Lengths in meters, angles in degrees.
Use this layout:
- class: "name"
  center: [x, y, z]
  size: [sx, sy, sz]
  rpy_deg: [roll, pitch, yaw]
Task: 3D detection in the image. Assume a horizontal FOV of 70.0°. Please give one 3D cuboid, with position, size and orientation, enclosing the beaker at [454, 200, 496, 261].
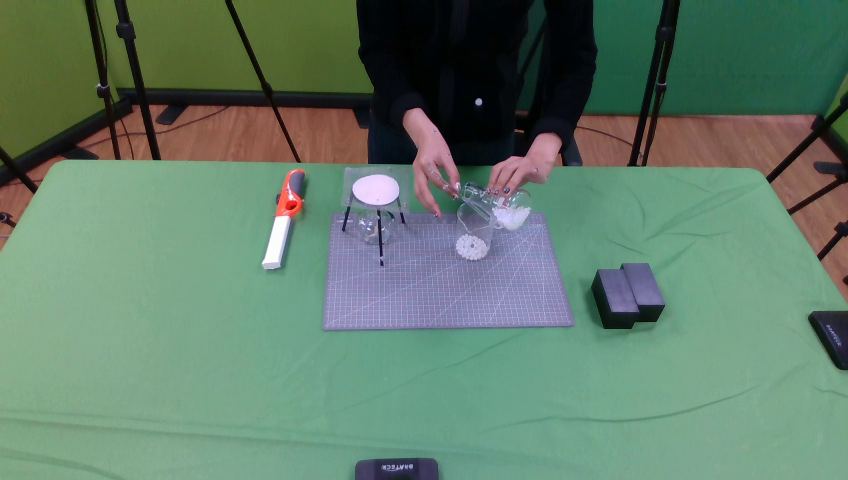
- class: "beaker"
  center: [0.094, -0.013, 1.162]
  size: [0.074, 0.101, 0.083]
  rpy_deg: [17, 48, 12]

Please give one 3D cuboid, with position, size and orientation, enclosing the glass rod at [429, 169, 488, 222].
- class: "glass rod"
  center: [0.066, -0.077, 1.089]
  size: [0.008, 0.201, 0.008]
  rpy_deg: [-18, 56, 29]

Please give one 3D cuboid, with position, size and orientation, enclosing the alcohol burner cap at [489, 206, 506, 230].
- class: "alcohol burner cap"
  center: [0.152, -0.047, 1.241]
  size: [0.034, 0.048, 0.033]
  rpy_deg: [2, 45, -2]

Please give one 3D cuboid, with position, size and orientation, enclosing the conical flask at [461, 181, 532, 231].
- class: "conical flask"
  center: [0.120, -0.067, 1.049]
  size: [0.121, 0.076, 0.075]
  rpy_deg: [25, 48, 38]

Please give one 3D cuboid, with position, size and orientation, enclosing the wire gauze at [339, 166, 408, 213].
- class: "wire gauze"
  center: [-0.091, -0.096, 1.110]
  size: [0.125, 0.011, 0.120]
  rpy_deg: [3, 45, -3]

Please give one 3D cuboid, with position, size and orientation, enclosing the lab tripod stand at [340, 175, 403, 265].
- class: "lab tripod stand"
  center: [-0.094, -0.050, 1.160]
  size: [0.148, 0.132, 0.147]
  rpy_deg: [2, 44, -2]

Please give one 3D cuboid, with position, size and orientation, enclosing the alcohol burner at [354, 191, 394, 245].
- class: "alcohol burner"
  center: [-0.096, -0.048, 1.171]
  size: [0.078, 0.119, 0.077]
  rpy_deg: [4, 45, -4]

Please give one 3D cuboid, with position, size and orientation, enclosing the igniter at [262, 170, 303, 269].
- class: "igniter"
  center: [-0.283, -0.050, 1.222]
  size: [0.057, 0.025, 0.275]
  rpy_deg: [-5, 45, 6]
